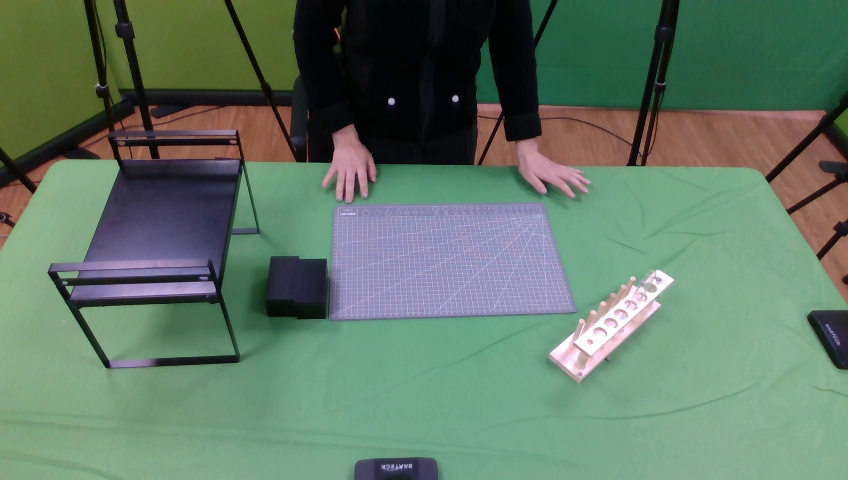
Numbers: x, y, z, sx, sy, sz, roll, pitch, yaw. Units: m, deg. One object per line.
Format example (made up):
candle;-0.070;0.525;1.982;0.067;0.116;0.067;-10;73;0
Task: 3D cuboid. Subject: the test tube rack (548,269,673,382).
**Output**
test tube rack;0.325;0.134;1.047;0.242;0.085;0.066;-32;56;-30

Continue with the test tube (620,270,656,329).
test tube;0.352;0.102;1.012;0.017;0.151;0.017;4;47;-4
